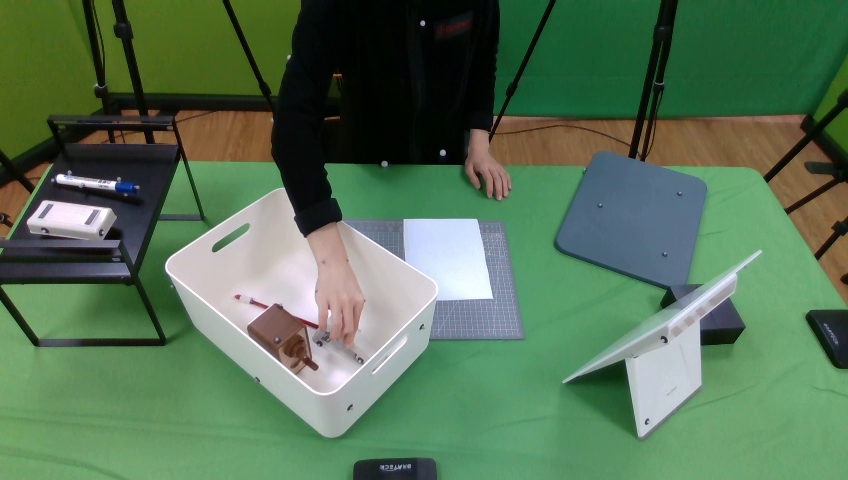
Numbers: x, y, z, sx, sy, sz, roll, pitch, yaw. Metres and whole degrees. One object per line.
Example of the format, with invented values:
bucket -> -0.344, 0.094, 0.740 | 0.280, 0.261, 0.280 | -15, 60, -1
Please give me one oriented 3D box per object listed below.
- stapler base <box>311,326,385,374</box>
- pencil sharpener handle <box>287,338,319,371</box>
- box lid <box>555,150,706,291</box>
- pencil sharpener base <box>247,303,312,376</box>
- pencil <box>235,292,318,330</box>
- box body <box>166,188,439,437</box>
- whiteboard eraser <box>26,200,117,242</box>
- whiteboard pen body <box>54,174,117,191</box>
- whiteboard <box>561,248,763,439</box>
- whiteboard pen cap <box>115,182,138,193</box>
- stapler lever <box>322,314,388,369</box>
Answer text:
stapler base -> -0.120, 0.177, 0.982 | 0.130, 0.024, 0.041 | 31, 47, 4
pencil sharpener handle -> -0.182, 0.178, 0.928 | 0.030, 0.068, 0.036 | 32, 68, 23
box lid -> 0.451, -0.059, 1.297 | 0.263, 0.015, 0.370 | 20, 49, 15
pencil sharpener base -> -0.225, 0.165, 0.955 | 0.076, 0.107, 0.061 | 32, 53, 23
pencil -> -0.244, 0.131, 1.055 | 0.194, 0.012, 0.012 | 22, 49, 11
box body -> -0.190, 0.108, 0.980 | 0.362, 0.161, 0.254 | 32, 52, 24
whiteboard eraser -> -0.532, -0.026, 0.919 | 0.113, 0.042, 0.055 | 7, 45, 3
whiteboard pen body -> -0.541, -0.093, 0.993 | 0.140, 0.017, 0.017 | 7, 46, 9
whiteboard -> 0.386, 0.176, 0.905 | 0.217, 0.306, 0.143 | -26, 72, -27
whiteboard pen cap -> -0.483, -0.086, 0.984 | 0.033, 0.018, 0.018 | 7, 46, 10
stapler lever -> -0.109, 0.160, 0.963 | 0.118, 0.040, 0.027 | 33, 47, 2
